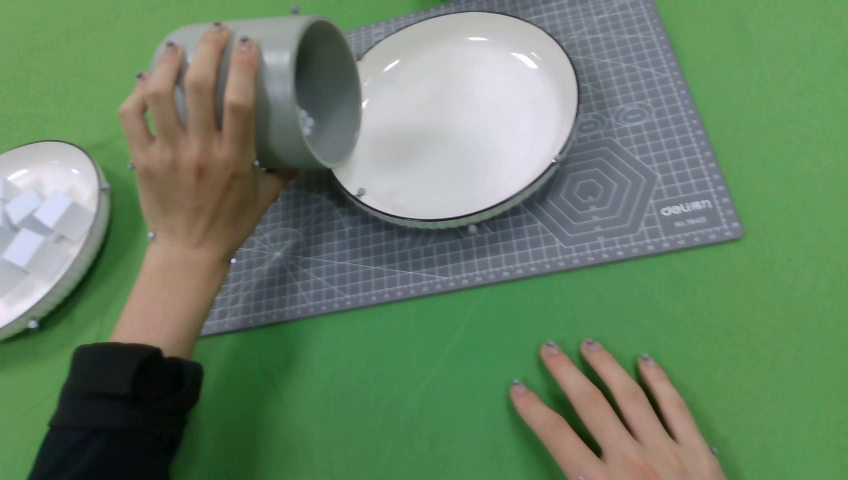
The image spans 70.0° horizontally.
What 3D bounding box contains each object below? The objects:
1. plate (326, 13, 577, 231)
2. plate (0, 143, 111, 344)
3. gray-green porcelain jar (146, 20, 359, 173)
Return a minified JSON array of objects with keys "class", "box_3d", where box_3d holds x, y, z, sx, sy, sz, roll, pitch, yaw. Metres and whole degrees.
[{"class":"plate","box_3d":[0.018,-0.095,0.489,0.209,0.038,0.207,-7,60,13]},{"class":"plate","box_3d":[-0.375,0.005,0.555,0.207,0.039,0.206,-7,61,13]},{"class":"gray-green porcelain jar","box_3d":[-0.126,-0.103,0.448,0.126,0.107,0.105,2,63,18]}]
